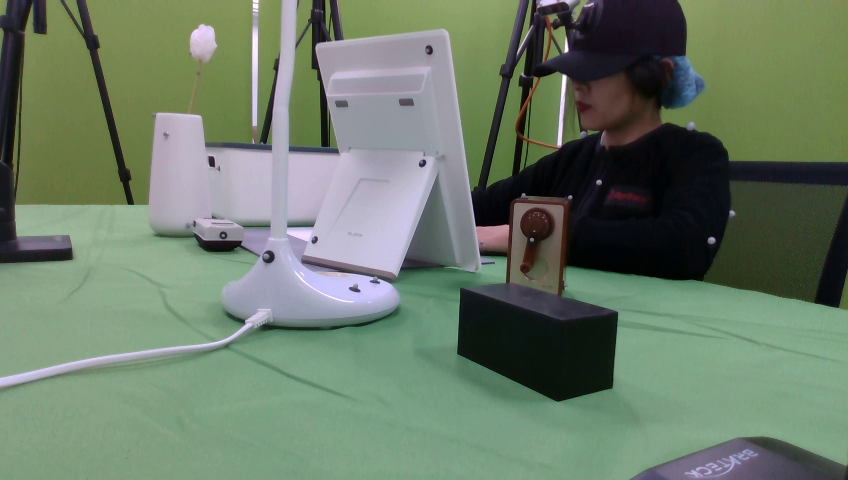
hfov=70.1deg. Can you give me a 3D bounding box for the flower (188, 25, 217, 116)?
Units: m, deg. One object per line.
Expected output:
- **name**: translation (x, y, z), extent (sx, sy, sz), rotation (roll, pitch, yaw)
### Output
- **flower**: translation (-0.394, -0.189, 1.011), extent (0.044, 0.361, 0.038), rotation (-1, -13, 27)

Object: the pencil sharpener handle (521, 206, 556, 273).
- **pencil sharpener handle**: translation (0.111, 0.000, 0.613), extent (0.036, 0.067, 0.031), rotation (13, 10, 14)

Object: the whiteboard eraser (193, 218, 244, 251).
- **whiteboard eraser**: translation (-0.307, -0.009, 0.900), extent (0.056, 0.042, 0.112), rotation (-4, 11, -28)

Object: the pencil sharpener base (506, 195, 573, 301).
- **pencil sharpener base**: translation (0.127, 0.007, 0.663), extent (0.061, 0.107, 0.077), rotation (5, 8, 15)

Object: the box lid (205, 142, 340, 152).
- **box lid**: translation (-0.270, -0.196, 1.311), extent (0.373, 0.015, 0.262), rotation (-2, 9, -30)

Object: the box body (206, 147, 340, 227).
- **box body**: translation (-0.276, -0.122, 1.320), extent (0.366, 0.160, 0.253), rotation (-2, 9, -30)

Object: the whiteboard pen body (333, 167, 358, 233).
- **whiteboard pen body**: translation (-0.150, -0.075, 1.138), extent (0.017, 0.140, 0.017), rotation (12, -23, 6)

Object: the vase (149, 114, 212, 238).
- **vase**: translation (-0.405, -0.106, 1.006), extent (0.098, 0.200, 0.098), rotation (2, 6, 0)

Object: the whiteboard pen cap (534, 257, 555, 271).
- **whiteboard pen cap**: translation (0.166, 0.033, 0.839), extent (0.018, 0.018, 0.033), rotation (-1, 6, -23)

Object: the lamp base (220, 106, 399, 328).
- **lamp base**: translation (-0.101, -0.023, 0.531), extent (0.160, 0.180, 0.179), rotation (4, 10, 10)

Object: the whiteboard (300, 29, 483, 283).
- **whiteboard**: translation (-0.074, -0.082, 0.742), extent (0.216, 0.305, 0.144), rotation (9, 29, 38)
